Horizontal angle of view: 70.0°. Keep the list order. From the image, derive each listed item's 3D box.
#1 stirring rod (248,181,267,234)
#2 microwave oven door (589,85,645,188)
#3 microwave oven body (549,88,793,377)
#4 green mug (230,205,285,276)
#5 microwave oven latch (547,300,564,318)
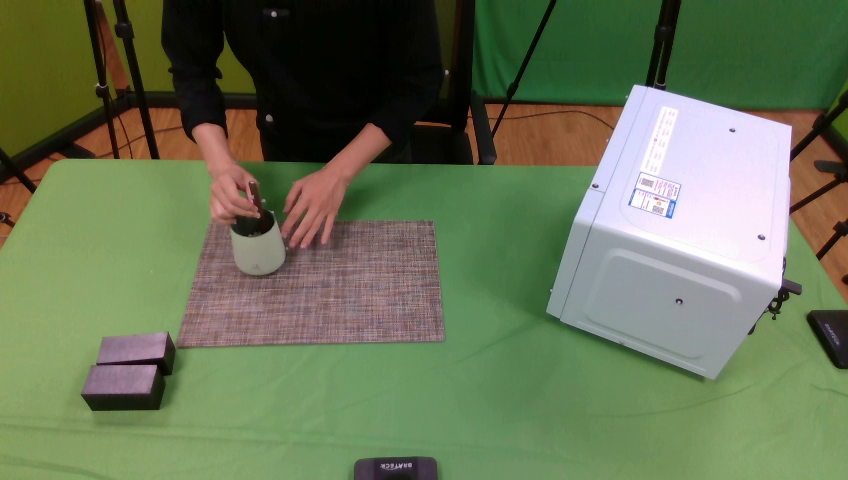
[{"bbox_3d":[-0.288,-0.040,1.068,0.014,0.177,0.006,14,51,9],"label":"stirring rod"},{"bbox_3d":[0.342,-0.107,1.148,0.039,0.245,0.354,20,48,15],"label":"microwave oven door"},{"bbox_3d":[0.456,-0.028,1.088,0.325,0.261,0.440,20,47,16],"label":"microwave oven body"},{"bbox_3d":[-0.311,-0.008,1.117,0.092,0.105,0.124,-14,49,-16],"label":"green mug"},{"bbox_3d":[0.242,0.102,1.081,0.030,0.029,0.079,21,48,17],"label":"microwave oven latch"}]
